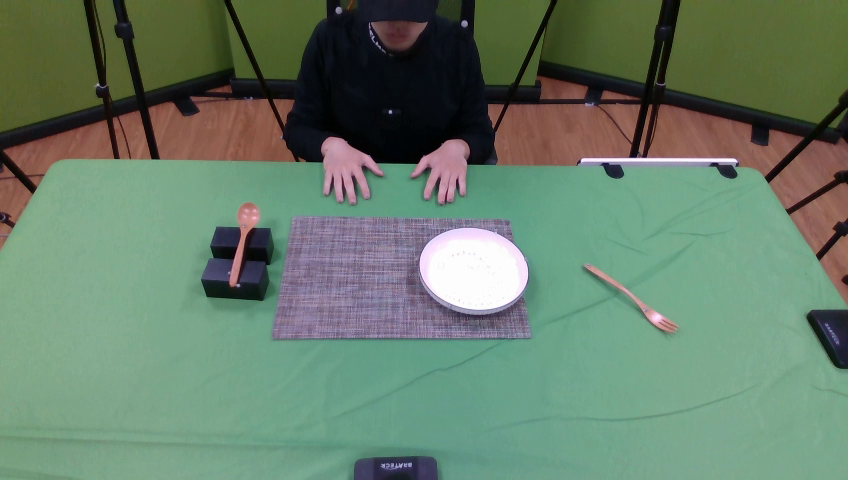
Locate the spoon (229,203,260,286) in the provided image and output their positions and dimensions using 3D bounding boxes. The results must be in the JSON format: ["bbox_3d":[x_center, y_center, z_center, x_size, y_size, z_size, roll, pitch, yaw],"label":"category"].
[{"bbox_3d":[-0.331,0.005,1.100,0.042,0.022,0.192,17,43,-19],"label":"spoon"}]

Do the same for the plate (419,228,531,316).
[{"bbox_3d":[0.093,0.062,1.131,0.208,0.039,0.206,2,46,-2],"label":"plate"}]

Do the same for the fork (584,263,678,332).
[{"bbox_3d":[0.380,0.103,1.130,0.028,0.019,0.206,-34,58,-23],"label":"fork"}]
